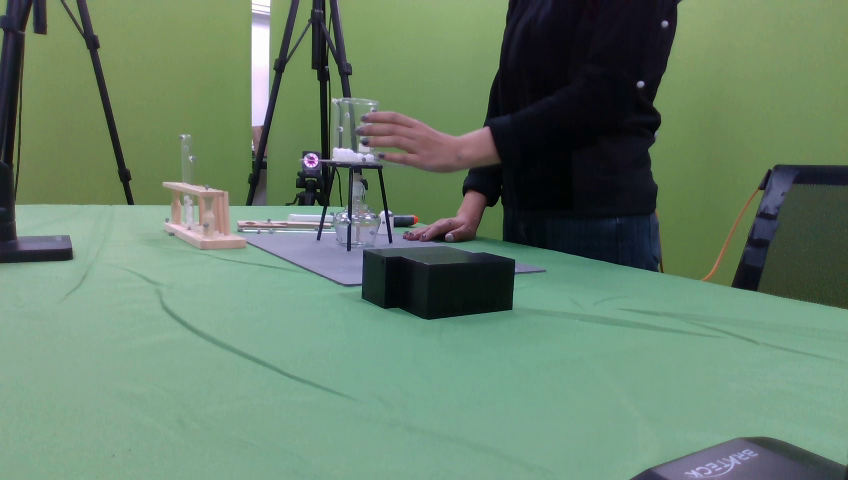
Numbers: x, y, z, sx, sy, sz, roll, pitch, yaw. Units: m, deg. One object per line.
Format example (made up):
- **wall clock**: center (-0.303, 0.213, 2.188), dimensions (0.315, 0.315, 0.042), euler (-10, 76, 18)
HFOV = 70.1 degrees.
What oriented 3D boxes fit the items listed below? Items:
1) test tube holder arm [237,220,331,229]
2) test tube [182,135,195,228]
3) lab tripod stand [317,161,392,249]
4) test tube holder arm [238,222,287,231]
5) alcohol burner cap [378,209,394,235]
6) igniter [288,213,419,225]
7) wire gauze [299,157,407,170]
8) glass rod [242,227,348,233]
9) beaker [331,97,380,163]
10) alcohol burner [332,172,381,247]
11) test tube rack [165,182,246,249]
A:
- **test tube holder arm**: center (-0.260, -0.028, 1.140), dimensions (0.179, 0.015, 0.013), euler (-1, 41, -32)
- **test tube**: center (-0.382, -0.095, 0.983), dimensions (0.017, 0.150, 0.017), euler (-1, 2, 0)
- **lab tripod stand**: center (-0.111, -0.059, 0.964), dimensions (0.148, 0.131, 0.148), euler (4, 8, 0)
- **test tube holder arm**: center (-0.297, -0.024, 1.113), dimensions (0.088, 0.015, 0.010), euler (-1, 41, -32)
- **alcohol burner cap**: center (-0.072, -0.035, 1.145), dimensions (0.034, 0.048, 0.034), euler (2, 8, 0)
- **igniter**: center (-0.145, -0.044, 1.278), dimensions (0.278, 0.025, 0.057), euler (-1, -2, -21)
- **wire gauze**: center (-0.112, -0.124, 0.959), dimensions (0.121, 0.011, 0.126), euler (13, 12, 40)
- **glass rod**: center (-0.232, -0.017, 1.110), dimensions (0.201, 0.008, 0.008), euler (1, 6, -30)
- **beaker**: center (-0.111, -0.171, 0.950), dimensions (0.073, 0.100, 0.084), euler (12, 12, 42)
- **alcohol burner**: center (-0.107, -0.048, 0.961), dimensions (0.078, 0.119, 0.078), euler (1, 9, 0)
- **test tube rack**: center (-0.360, -0.044, 0.982), dimensions (0.067, 0.085, 0.241), euler (-3, 9, -34)
